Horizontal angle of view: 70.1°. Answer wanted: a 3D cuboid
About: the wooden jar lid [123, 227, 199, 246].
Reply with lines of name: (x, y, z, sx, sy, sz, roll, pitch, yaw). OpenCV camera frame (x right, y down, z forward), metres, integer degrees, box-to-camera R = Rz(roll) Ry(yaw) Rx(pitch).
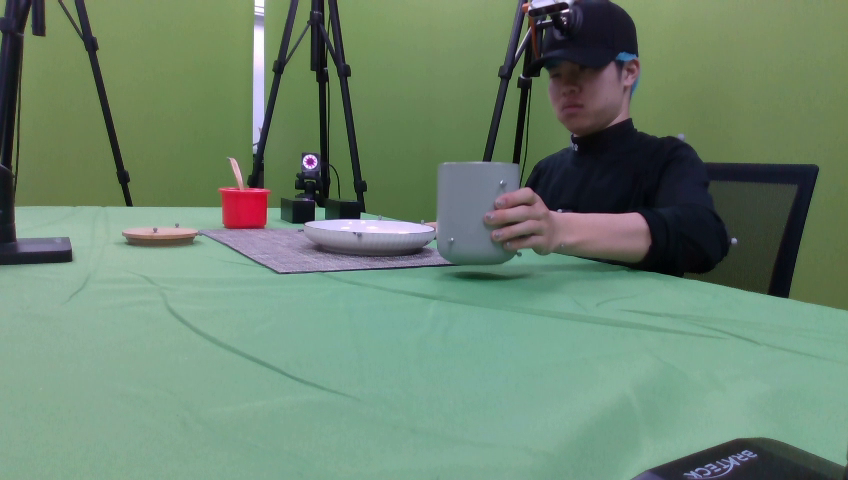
wooden jar lid: (-0.408, -0.006, 0.942, 0.108, 0.020, 0.108, 3, 6, 0)

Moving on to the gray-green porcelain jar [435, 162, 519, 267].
gray-green porcelain jar: (0.067, -0.032, 0.768, 0.106, 0.126, 0.106, 0, 4, 0)

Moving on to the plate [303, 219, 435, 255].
plate: (-0.085, -0.005, 0.952, 0.208, 0.039, 0.207, 3, 7, 0)

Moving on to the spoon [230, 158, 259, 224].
spoon: (-0.366, -0.101, 1.215, 0.042, 0.021, 0.193, -1, 52, -30)
